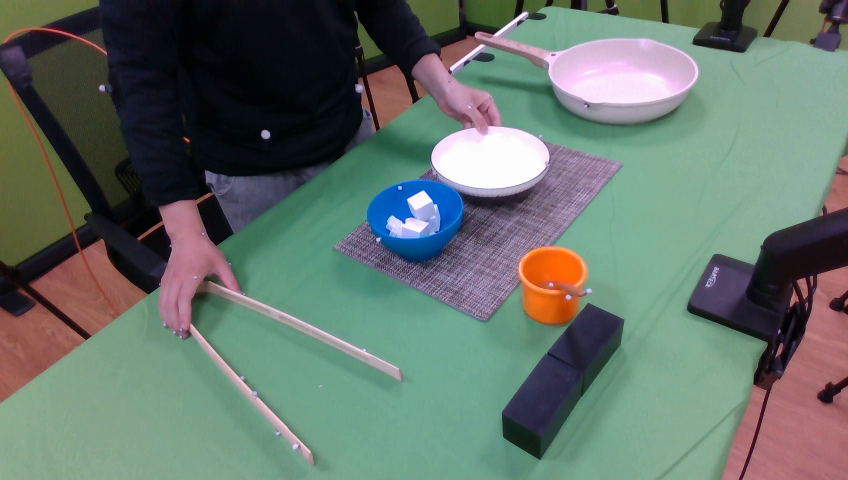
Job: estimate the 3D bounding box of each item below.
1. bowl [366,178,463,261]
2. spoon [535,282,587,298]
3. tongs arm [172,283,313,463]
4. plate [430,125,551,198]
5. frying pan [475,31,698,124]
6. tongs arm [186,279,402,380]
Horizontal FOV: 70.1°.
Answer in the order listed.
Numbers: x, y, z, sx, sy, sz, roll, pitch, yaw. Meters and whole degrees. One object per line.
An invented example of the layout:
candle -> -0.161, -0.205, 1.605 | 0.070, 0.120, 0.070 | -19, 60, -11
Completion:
bowl -> -0.011, -0.021, 0.945 | 0.151, 0.077, 0.150 | -4, 41, 4
spoon -> 0.176, 0.063, 0.774 | 0.041, 0.194, 0.021 | -3, 85, 0
tongs arm -> -0.246, 0.161, 0.806 | 0.381, 0.026, 0.051 | 29, 52, 36
plate -> 0.114, -0.132, 1.044 | 0.208, 0.039, 0.206 | -2, 39, 2
frying pan -> 0.320, -0.371, 1.290 | 0.485, 0.103, 0.307 | 28, 50, 23
tongs arm -> -0.194, 0.119, 0.852 | 0.385, 0.028, 0.028 | 18, 49, 27
